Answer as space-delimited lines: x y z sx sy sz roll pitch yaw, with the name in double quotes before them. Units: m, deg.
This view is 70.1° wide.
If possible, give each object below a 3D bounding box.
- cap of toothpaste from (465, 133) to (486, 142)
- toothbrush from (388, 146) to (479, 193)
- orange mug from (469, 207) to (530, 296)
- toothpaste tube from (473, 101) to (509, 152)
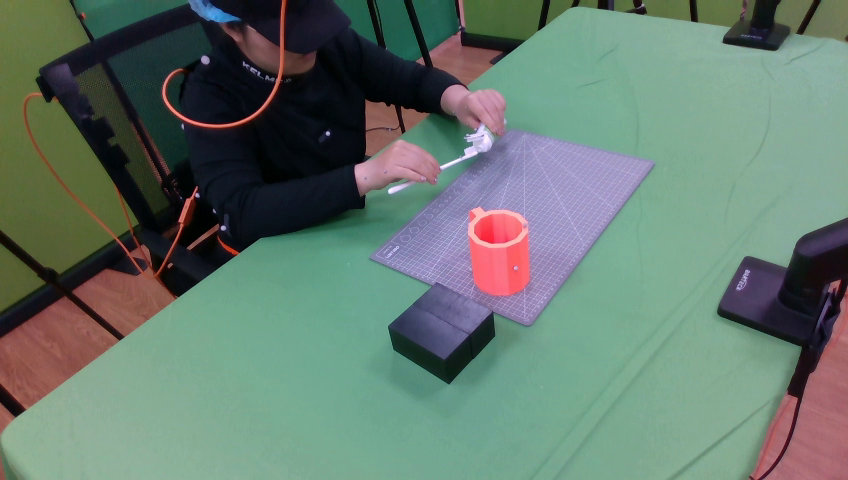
"cap of toothpaste" 0.089 -0.176 1.045 0.037 0.011 0.037 -6 16 2
"toothbrush" 0.018 -0.120 1.025 0.182 0.017 0.014 -27 26 -21
"orange mug" 0.104 0.008 0.894 0.084 0.101 0.125 -22 46 -14
"toothpaste tube" 0.123 -0.208 1.123 0.034 0.055 0.165 -23 22 33
